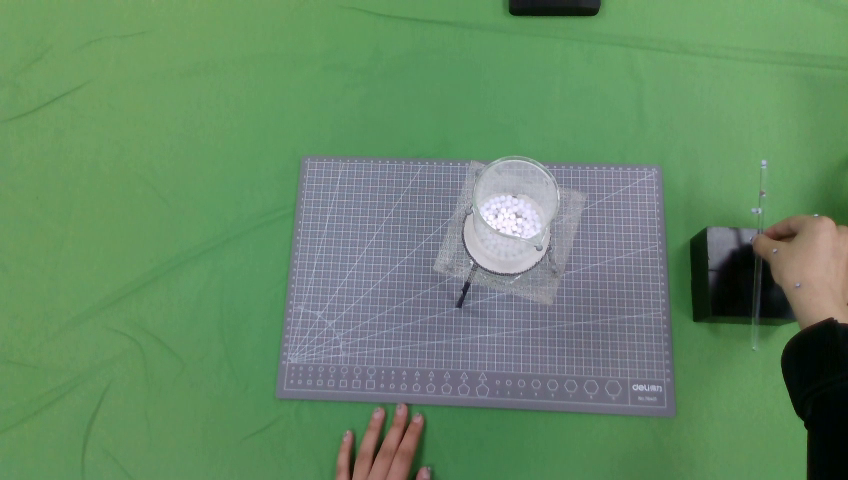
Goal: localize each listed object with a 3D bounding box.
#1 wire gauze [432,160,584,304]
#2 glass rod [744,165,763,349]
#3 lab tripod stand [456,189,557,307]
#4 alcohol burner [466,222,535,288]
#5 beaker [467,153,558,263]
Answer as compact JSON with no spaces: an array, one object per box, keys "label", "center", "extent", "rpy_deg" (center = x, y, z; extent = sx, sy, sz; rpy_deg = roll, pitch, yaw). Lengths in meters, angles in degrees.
[{"label":"wire gauze","center":[0.084,-0.010,0.597],"extent":[0.121,0.011,0.124],"rpy_deg":[19,74,6]},{"label":"glass rod","center":[0.356,0.018,0.654],"extent":[0.008,0.008,0.199],"rpy_deg":[5,88,3]},{"label":"lab tripod stand","center":[0.081,0.006,0.662],"extent":[0.148,0.132,0.147],"rpy_deg":[-1,74,4]},{"label":"alcohol burner","center":[0.085,0.013,0.670],"extent":[0.078,0.120,0.077],"rpy_deg":[-1,76,4]},{"label":"beaker","center":[0.079,-0.021,0.551],"extent":[0.074,0.101,0.083],"rpy_deg":[-25,75,-4]}]
